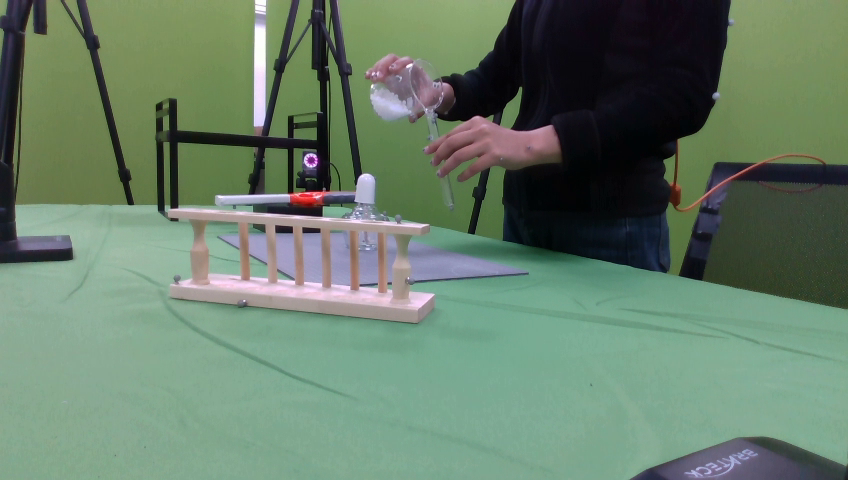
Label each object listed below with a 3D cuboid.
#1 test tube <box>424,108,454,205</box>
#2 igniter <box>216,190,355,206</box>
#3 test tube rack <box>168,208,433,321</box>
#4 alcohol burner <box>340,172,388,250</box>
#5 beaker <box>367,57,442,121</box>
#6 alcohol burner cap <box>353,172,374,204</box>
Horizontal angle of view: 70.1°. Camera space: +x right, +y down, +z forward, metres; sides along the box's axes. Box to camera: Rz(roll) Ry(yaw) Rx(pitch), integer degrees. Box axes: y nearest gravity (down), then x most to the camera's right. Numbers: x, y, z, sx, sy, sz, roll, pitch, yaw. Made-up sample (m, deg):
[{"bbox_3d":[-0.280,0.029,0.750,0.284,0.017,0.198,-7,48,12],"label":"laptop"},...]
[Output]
[{"bbox_3d":[0.021,-0.124,0.893,0.017,0.150,0.017,-12,-10,-2],"label":"test tube"},{"bbox_3d":[-0.249,-0.079,1.151,0.278,0.025,0.057,-4,11,-27],"label":"igniter"},{"bbox_3d":[-0.116,0.018,0.574,0.242,0.085,0.067,4,8,13],"label":"test tube rack"},{"bbox_3d":[-0.094,-0.045,0.939,0.078,0.119,0.078,0,7,0],"label":"alcohol burner"},{"bbox_3d":[-0.033,-0.228,0.938,0.100,0.084,0.074,-8,1,44],"label":"beaker"},{"bbox_3d":[-0.092,-0.081,0.935,0.034,0.048,0.034,6,10,-1],"label":"alcohol burner cap"}]
